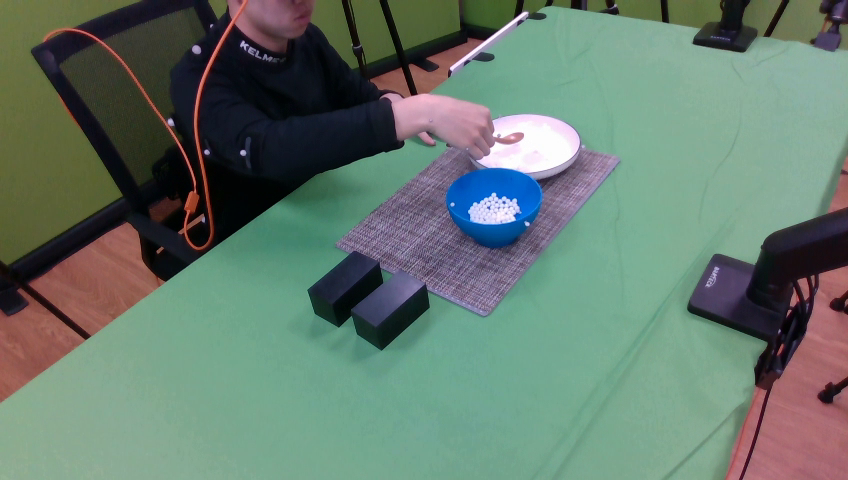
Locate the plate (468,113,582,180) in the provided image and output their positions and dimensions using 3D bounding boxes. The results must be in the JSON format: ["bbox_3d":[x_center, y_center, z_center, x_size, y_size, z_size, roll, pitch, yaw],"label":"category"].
[{"bbox_3d":[0.186,-0.169,1.122,0.207,0.039,0.206,-4,40,4],"label":"plate"}]

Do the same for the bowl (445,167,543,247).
[{"bbox_3d":[0.111,-0.042,0.952,0.151,0.077,0.150,-4,41,4],"label":"bowl"}]

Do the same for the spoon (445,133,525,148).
[{"bbox_3d":[0.104,-0.170,1.026,0.195,0.021,0.041,-10,20,-43],"label":"spoon"}]
